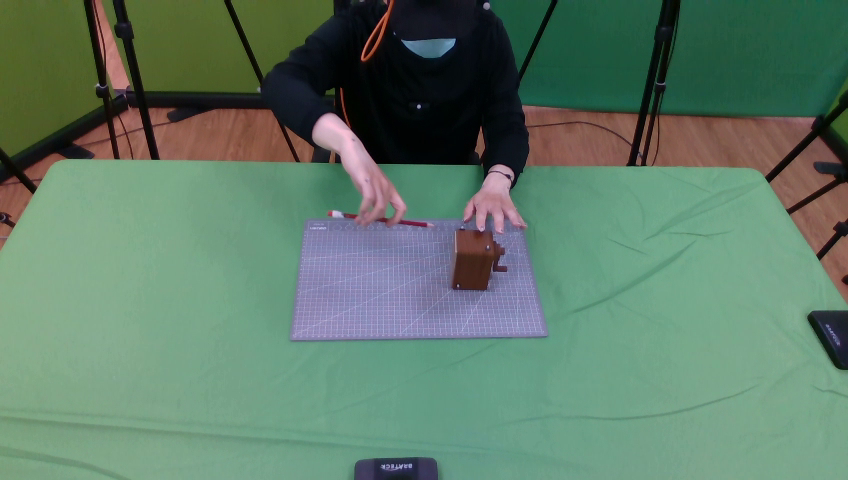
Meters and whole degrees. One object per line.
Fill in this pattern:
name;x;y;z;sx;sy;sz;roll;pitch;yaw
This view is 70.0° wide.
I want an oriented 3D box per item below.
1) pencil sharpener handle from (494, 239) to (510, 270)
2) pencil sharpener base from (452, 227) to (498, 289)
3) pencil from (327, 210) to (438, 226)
pencil sharpener handle;0.143;0.029;1.094;0.030;0.068;0.036;3;42;-1
pencil sharpener base;0.092;0.035;1.103;0.077;0.107;0.061;3;46;-1
pencil;-0.072;-0.037;1.059;0.194;0.012;0.012;6;47;-2
